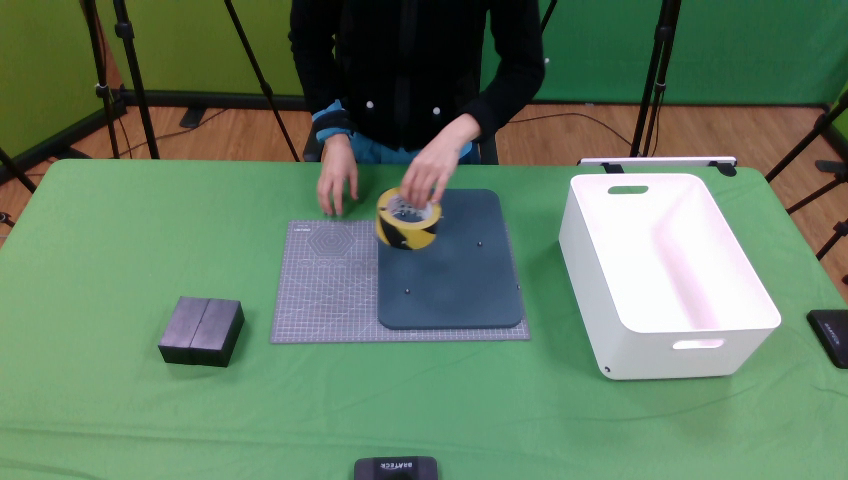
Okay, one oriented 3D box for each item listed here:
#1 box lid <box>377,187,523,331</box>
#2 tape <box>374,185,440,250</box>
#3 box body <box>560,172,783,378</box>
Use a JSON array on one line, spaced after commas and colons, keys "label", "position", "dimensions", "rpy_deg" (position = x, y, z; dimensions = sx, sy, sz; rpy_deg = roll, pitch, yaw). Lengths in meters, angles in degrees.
[{"label": "box lid", "position": [0.040, 0.024, 1.182], "dimensions": [0.263, 0.015, 0.369], "rpy_deg": [-1, 46, -4]}, {"label": "tape", "position": [-0.032, -0.041, 1.064], "dimensions": [0.117, 0.053, 0.116], "rpy_deg": [6, 46, -6]}, {"label": "box body", "position": [0.405, 0.057, 1.074], "dimensions": [0.254, 0.161, 0.361], "rpy_deg": [-2, 46, -5]}]
